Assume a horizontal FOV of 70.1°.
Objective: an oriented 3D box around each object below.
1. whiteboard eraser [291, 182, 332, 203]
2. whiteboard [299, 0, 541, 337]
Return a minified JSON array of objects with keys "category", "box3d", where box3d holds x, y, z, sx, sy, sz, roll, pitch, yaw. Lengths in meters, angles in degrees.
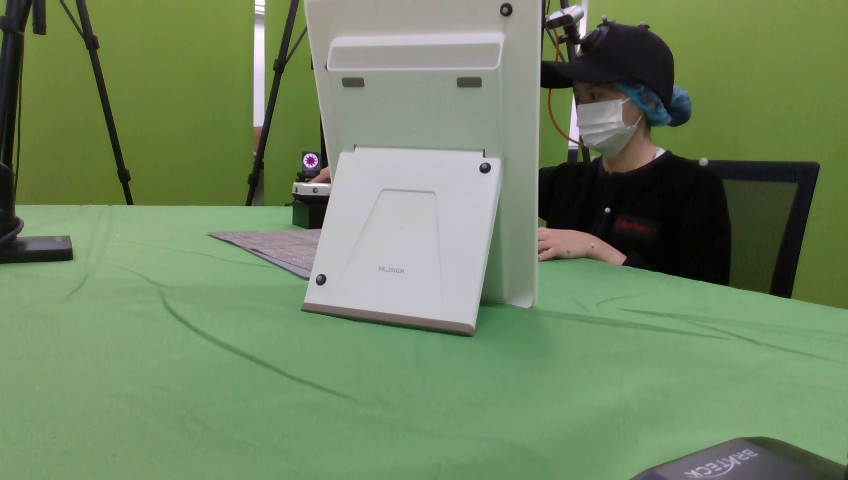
[{"category":"whiteboard eraser","box3d":[-0.209,-0.097,1.234,0.113,0.042,0.055,-3,8,-35]},{"category":"whiteboard","box3d":[-0.021,-0.051,0.523,0.216,0.305,0.144,6,27,20]}]
